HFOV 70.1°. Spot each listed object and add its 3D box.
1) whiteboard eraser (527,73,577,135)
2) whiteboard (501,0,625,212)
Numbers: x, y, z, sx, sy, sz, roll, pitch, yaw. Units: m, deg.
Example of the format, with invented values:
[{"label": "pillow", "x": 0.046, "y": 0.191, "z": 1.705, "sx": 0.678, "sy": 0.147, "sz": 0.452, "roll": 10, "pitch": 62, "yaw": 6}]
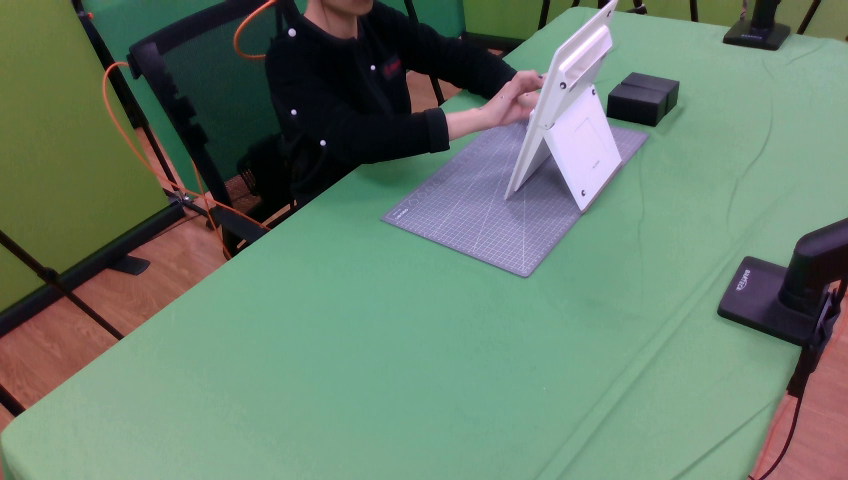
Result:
[{"label": "whiteboard eraser", "x": 0.227, "y": -0.237, "z": 1.063, "sx": 0.041, "sy": 0.056, "sz": 0.113, "roll": 36, "pitch": 70, "yaw": 13}, {"label": "whiteboard", "x": 0.271, "y": -0.189, "z": 0.977, "sx": 0.143, "sy": 0.306, "sz": 0.218, "roll": 34, "pitch": 54, "yaw": 16}]
